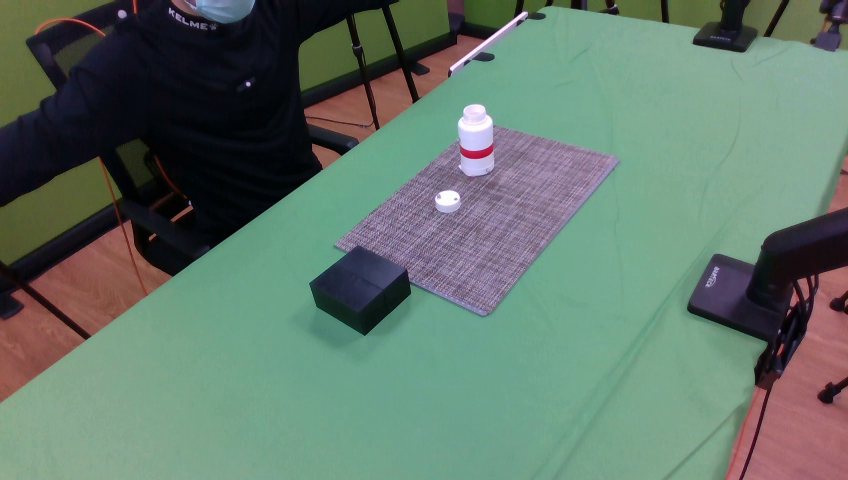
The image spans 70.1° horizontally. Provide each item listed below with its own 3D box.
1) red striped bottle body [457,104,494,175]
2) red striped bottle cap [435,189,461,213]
[{"bbox_3d":[0.093,-0.182,1.085,0.063,0.120,0.062,-4,41,4],"label":"red striped bottle body"},{"bbox_3d":[0.042,-0.068,1.040,0.044,0.018,0.044,-5,46,6],"label":"red striped bottle cap"}]
